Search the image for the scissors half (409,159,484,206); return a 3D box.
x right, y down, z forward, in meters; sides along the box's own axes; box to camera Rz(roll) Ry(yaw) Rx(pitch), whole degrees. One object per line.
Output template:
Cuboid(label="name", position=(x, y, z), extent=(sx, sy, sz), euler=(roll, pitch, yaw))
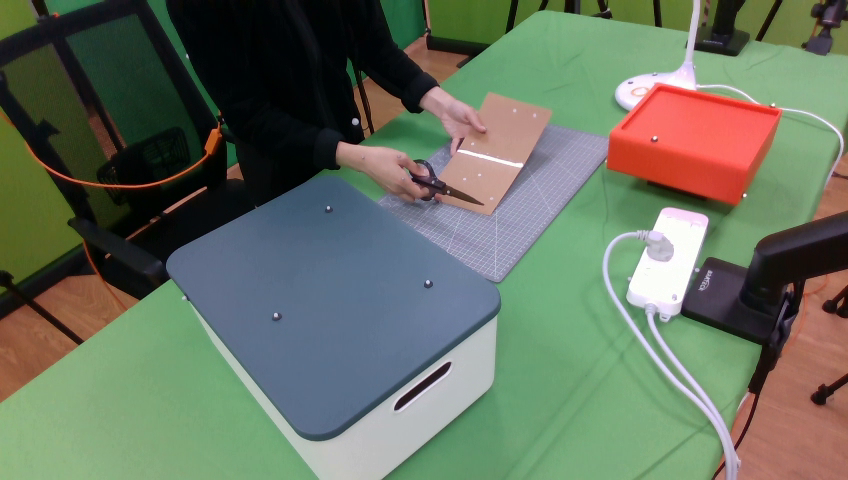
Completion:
Cuboid(label="scissors half", position=(0.034, -0.093, 0.996), extent=(0.013, 0.040, 0.173), euler=(-30, 48, -32))

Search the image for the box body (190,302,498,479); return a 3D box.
Cuboid(label="box body", position=(-0.110, 0.103, 0.761), extent=(0.255, 0.161, 0.361), euler=(-33, 46, -27))

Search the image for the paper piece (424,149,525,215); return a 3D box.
Cuboid(label="paper piece", position=(0.091, -0.109, 1.080), extent=(0.135, 0.004, 0.135), euler=(21, 57, 27))

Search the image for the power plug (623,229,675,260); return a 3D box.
Cuboid(label="power plug", position=(0.327, 0.007, 0.878), extent=(0.072, 0.053, 0.035), euler=(25, 51, 33))

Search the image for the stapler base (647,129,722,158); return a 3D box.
Cuboid(label="stapler base", position=(0.439, -0.167, 1.023), extent=(0.131, 0.024, 0.041), euler=(-16, 25, -15))

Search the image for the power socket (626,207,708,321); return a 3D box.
Cuboid(label="power socket", position=(0.360, 0.026, 0.886), extent=(0.072, 0.033, 0.227), euler=(16, 46, 26))

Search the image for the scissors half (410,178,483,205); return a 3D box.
Cuboid(label="scissors half", position=(0.035, -0.076, 1.006), extent=(0.013, 0.040, 0.173), euler=(-24, 27, -35))

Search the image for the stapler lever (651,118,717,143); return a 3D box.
Cuboid(label="stapler lever", position=(0.436, -0.192, 1.014), extent=(0.118, 0.040, 0.026), euler=(-15, 25, -16))

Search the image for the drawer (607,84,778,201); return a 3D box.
Cuboid(label="drawer", position=(0.438, -0.167, 0.996), extent=(0.210, 0.073, 0.195), euler=(23, 48, 30))

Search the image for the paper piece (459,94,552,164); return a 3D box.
Cuboid(label="paper piece", position=(0.153, -0.209, 1.135), extent=(0.137, 0.009, 0.136), euler=(21, 68, 24))

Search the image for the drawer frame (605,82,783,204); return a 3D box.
Cuboid(label="drawer frame", position=(0.441, -0.167, 0.995), extent=(0.212, 0.083, 0.202), euler=(23, 48, 30))

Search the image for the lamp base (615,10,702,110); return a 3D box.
Cuboid(label="lamp base", position=(0.484, -0.364, 1.211), extent=(0.180, 0.181, 0.159), euler=(-15, 41, -14))

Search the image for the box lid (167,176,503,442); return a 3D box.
Cuboid(label="box lid", position=(-0.119, 0.047, 0.714), extent=(0.264, 0.015, 0.368), euler=(-32, 47, -27))
